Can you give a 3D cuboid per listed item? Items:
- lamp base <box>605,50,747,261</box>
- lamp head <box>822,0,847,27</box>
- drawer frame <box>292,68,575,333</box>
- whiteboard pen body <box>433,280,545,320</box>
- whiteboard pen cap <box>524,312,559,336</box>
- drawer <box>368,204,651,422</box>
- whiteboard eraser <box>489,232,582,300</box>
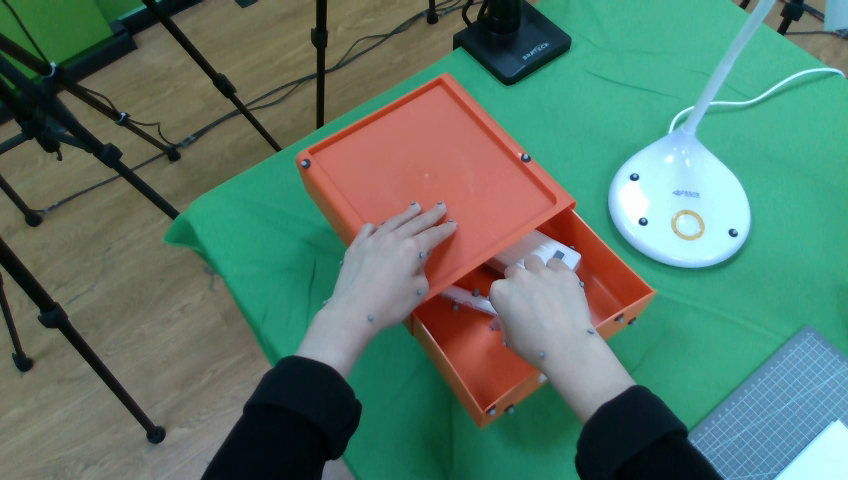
[{"bbox_3d":[0.289,-0.095,0.645,0.161,0.182,0.177,-3,58,-1],"label":"lamp base"},{"bbox_3d":[0.307,-0.198,0.371,0.112,0.112,0.123,-10,100,-4],"label":"lamp head"},{"bbox_3d":[0.006,-0.047,0.628,0.201,0.083,0.212,-33,67,-15],"label":"drawer frame"},{"bbox_3d":[0.057,0.057,0.594,0.140,0.017,0.017,18,63,10],"label":"whiteboard pen body"},{"bbox_3d":[0.113,0.079,0.586,0.033,0.018,0.018,19,63,10],"label":"whiteboard pen cap"},{"bbox_3d":[0.070,0.032,0.587,0.194,0.074,0.210,-31,64,-14],"label":"drawer"},{"bbox_3d":[0.104,0.021,0.631,0.111,0.042,0.055,20,69,43],"label":"whiteboard eraser"}]
